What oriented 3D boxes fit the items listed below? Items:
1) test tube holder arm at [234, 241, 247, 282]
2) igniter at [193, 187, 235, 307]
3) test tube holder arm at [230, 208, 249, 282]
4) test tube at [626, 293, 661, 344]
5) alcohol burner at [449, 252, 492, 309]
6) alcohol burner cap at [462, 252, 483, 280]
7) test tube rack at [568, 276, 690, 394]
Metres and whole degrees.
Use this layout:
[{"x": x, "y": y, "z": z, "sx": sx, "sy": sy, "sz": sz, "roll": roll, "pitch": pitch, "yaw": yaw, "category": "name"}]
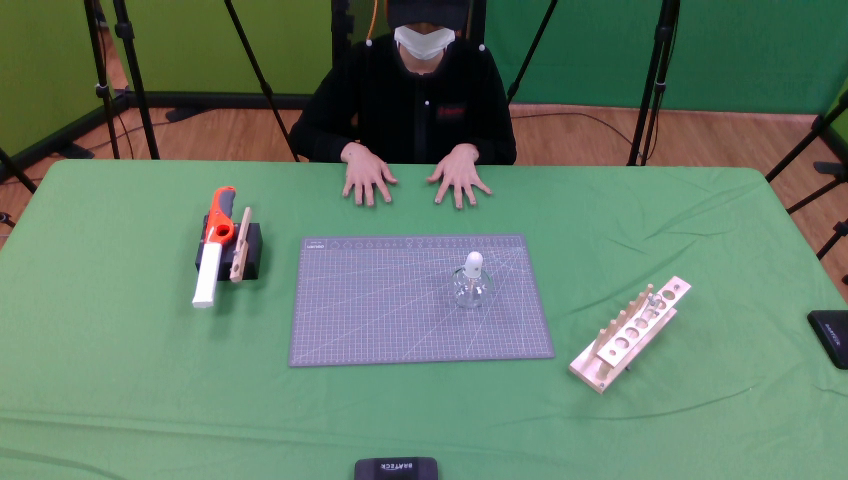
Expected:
[{"x": -0.324, "y": 0.037, "z": 1.071, "sx": 0.010, "sy": 0.015, "sz": 0.087, "roll": -7, "pitch": 46, "yaw": -1, "category": "test tube holder arm"}, {"x": -0.379, "y": 0.003, "z": 1.096, "sx": 0.057, "sy": 0.025, "sz": 0.274, "roll": -1, "pitch": 49, "yaw": -6, "category": "igniter"}, {"x": -0.334, "y": 0.006, "z": 1.103, "sx": 0.013, "sy": 0.015, "sz": 0.177, "roll": -7, "pitch": 46, "yaw": -1, "category": "test tube holder arm"}, {"x": 0.355, "y": 0.133, "z": 0.984, "sx": 0.017, "sy": 0.151, "sz": 0.017, "roll": 1, "pitch": 52, "yaw": 0, "category": "test tube"}, {"x": 0.084, "y": 0.066, "z": 1.074, "sx": 0.078, "sy": 0.120, "sz": 0.077, "roll": 1, "pitch": 44, "yaw": -1, "category": "alcohol burner"}, {"x": 0.085, "y": 0.042, "z": 1.048, "sx": 0.034, "sy": 0.048, "sz": 0.033, "roll": 4, "pitch": 44, "yaw": -4, "category": "alcohol burner cap"}, {"x": 0.353, "y": 0.149, "z": 1.039, "sx": 0.242, "sy": 0.085, "sz": 0.066, "roll": -34, "pitch": 56, "yaw": -31, "category": "test tube rack"}]
